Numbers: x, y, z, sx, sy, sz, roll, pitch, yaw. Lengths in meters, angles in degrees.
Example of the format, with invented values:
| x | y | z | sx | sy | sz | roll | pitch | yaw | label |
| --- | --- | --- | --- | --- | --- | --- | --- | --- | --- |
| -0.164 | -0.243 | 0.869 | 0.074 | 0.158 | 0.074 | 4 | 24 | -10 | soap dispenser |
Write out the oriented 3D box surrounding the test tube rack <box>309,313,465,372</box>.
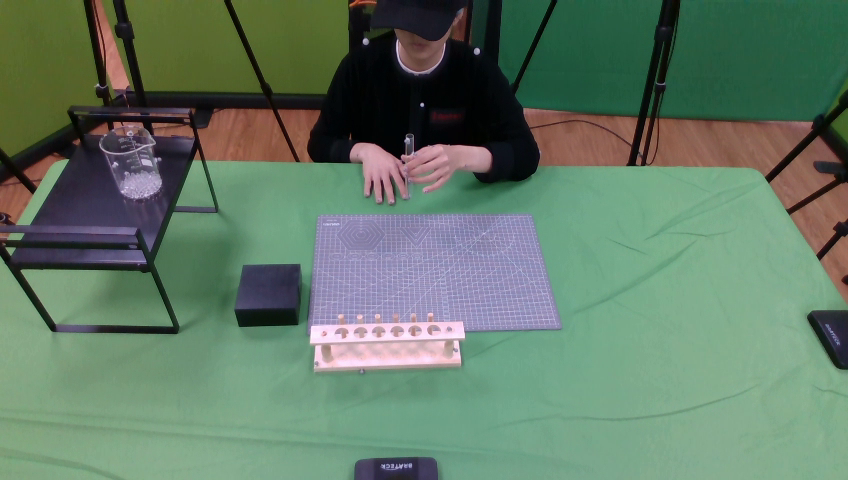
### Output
| x | y | z | sx | sy | sz | roll | pitch | yaw | label |
| --- | --- | --- | --- | --- | --- | --- | --- | --- | --- |
| -0.059 | 0.161 | 0.990 | 0.242 | 0.085 | 0.066 | -1 | 46 | -5 | test tube rack |

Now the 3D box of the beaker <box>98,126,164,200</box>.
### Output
| x | y | z | sx | sy | sz | roll | pitch | yaw | label |
| --- | --- | --- | --- | --- | --- | --- | --- | --- | --- |
| -0.464 | -0.122 | 0.977 | 0.084 | 0.101 | 0.073 | 0 | 46 | -5 | beaker |

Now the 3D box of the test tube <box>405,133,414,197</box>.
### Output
| x | y | z | sx | sy | sz | roll | pitch | yaw | label |
| --- | --- | --- | --- | --- | --- | --- | --- | --- | --- |
| -0.027 | -0.139 | 1.150 | 0.017 | 0.151 | 0.017 | 1 | 47 | -1 | test tube |
